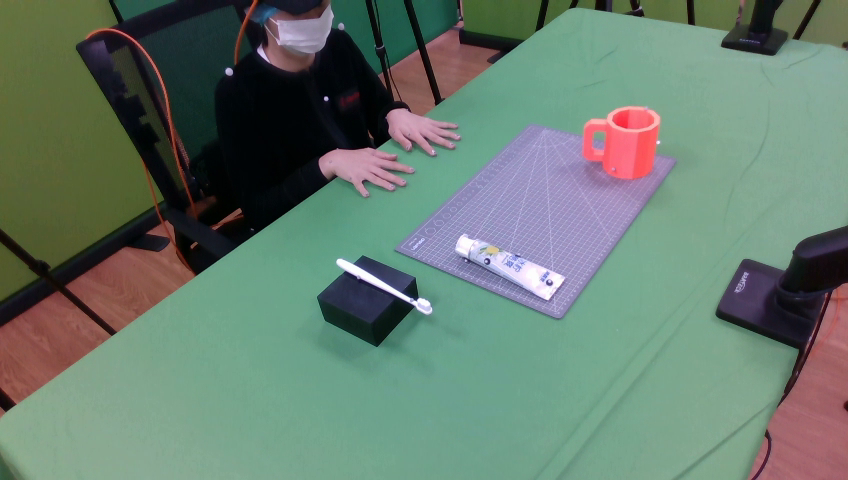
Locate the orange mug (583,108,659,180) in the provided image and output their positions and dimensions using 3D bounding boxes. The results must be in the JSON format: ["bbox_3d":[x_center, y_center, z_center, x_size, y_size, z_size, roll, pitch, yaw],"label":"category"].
[{"bbox_3d":[0.343,-0.171,1.061,0.126,0.101,0.083,10,43,15],"label":"orange mug"}]

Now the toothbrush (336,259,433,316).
[{"bbox_3d":[-0.059,0.062,0.839,0.180,0.017,0.014,24,55,33],"label":"toothbrush"}]

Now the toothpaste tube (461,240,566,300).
[{"bbox_3d":[0.125,0.040,0.900,0.164,0.035,0.055,23,55,27],"label":"toothpaste tube"}]

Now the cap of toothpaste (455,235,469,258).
[{"bbox_3d":[0.062,0.010,0.936,0.011,0.037,0.037,23,49,27],"label":"cap of toothpaste"}]
